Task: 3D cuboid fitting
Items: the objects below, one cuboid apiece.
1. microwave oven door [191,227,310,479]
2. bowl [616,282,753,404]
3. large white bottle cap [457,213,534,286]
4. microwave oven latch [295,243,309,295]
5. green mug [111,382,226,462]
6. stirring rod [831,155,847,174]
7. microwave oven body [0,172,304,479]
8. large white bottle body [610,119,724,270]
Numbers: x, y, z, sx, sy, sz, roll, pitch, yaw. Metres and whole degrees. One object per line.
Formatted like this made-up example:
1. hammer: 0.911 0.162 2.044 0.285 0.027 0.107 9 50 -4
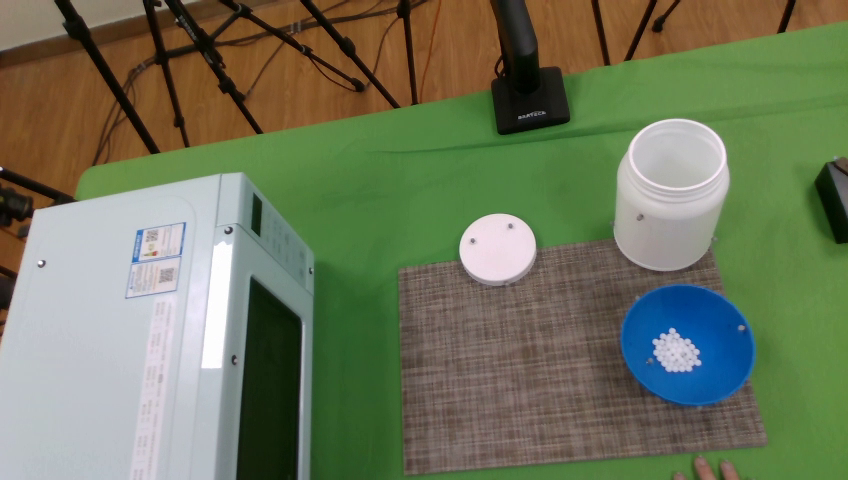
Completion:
1. microwave oven door: -0.201 0.192 0.742 0.039 0.246 0.352 -10 62 9
2. bowl: 0.316 0.136 0.754 0.151 0.077 0.150 -6 62 12
3. large white bottle cap: 0.106 0.013 0.903 0.114 0.018 0.114 -6 62 11
4. microwave oven latch: -0.192 0.046 0.932 0.030 0.030 0.078 -9 63 8
5. green mug: -0.321 0.229 0.784 0.125 0.106 0.091 -19 62 -2
6. stirring rod: 0.596 -0.051 0.765 0.174 0.006 0.014 49 117 28
7. microwave oven body: -0.345 0.182 0.788 0.326 0.262 0.437 -9 62 8
8. large white bottle body: 0.313 -0.057 0.792 0.130 0.186 0.129 -6 58 11
